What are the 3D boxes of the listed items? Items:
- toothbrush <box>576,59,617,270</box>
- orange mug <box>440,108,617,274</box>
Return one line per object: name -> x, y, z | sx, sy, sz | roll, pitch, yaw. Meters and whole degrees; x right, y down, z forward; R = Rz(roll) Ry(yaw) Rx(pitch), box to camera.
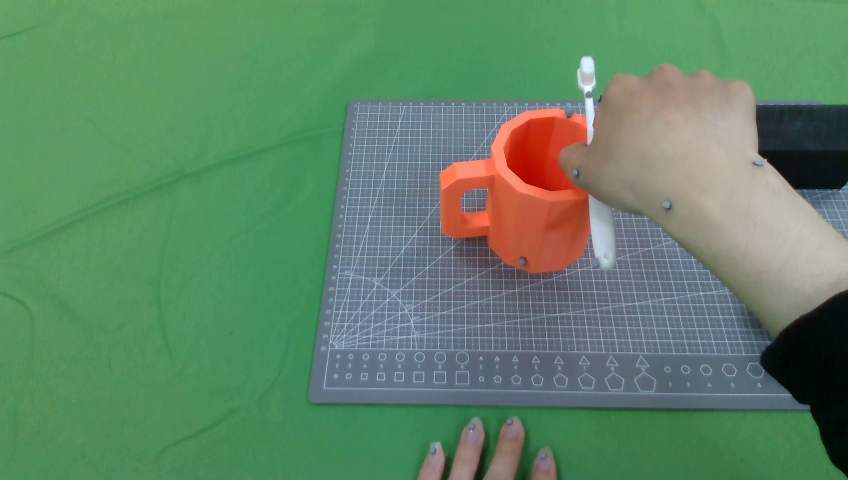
toothbrush -> 0.116, -0.059, 0.410 | 0.014, 0.017, 0.180 | 0, 56, 7
orange mug -> 0.074, -0.033, 0.457 | 0.126, 0.101, 0.082 | -4, 57, -6
